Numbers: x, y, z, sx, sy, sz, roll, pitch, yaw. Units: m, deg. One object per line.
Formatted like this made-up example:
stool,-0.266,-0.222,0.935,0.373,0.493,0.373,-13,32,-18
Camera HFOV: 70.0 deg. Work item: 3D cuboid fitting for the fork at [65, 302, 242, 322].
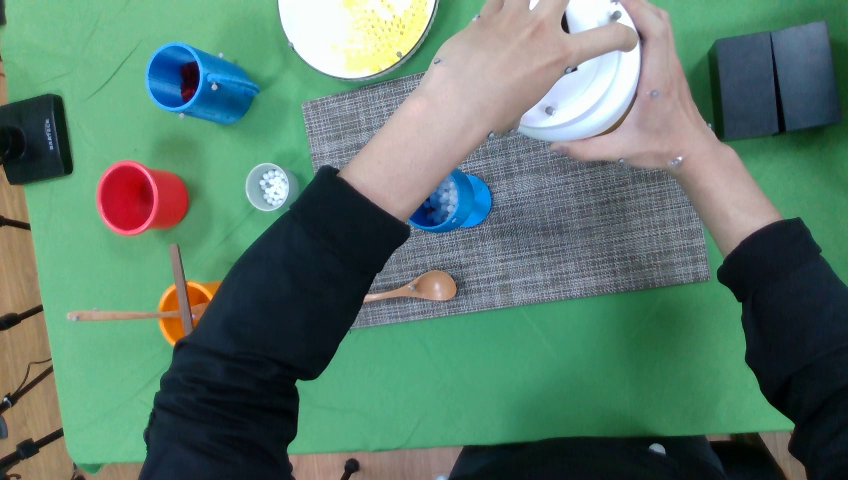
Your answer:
fork,-0.343,0.096,0.782,0.208,0.018,0.028,1,101,-28

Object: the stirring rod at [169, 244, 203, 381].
stirring rod,-0.302,0.092,0.768,0.014,0.006,0.176,-10,90,16

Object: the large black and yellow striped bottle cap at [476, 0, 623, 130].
large black and yellow striped bottle cap,0.096,-0.145,0.476,0.114,0.019,0.115,2,96,25

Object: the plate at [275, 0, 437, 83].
plate,-0.081,-0.296,0.744,0.208,0.038,0.209,1,94,15

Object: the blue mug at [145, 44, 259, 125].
blue mug,-0.269,-0.193,0.767,0.116,0.106,0.082,4,94,15

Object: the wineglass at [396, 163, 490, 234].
wineglass,0.026,-0.044,0.657,0.073,0.172,0.074,1,93,16

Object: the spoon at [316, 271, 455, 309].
spoon,-0.053,0.069,0.763,0.193,0.021,0.042,-11,111,16

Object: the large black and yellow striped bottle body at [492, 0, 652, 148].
large black and yellow striped bottle body,0.132,-0.154,0.551,0.130,0.184,0.131,3,97,25

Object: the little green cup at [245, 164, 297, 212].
little green cup,-0.197,-0.067,0.790,0.061,0.039,0.061,1,94,16
